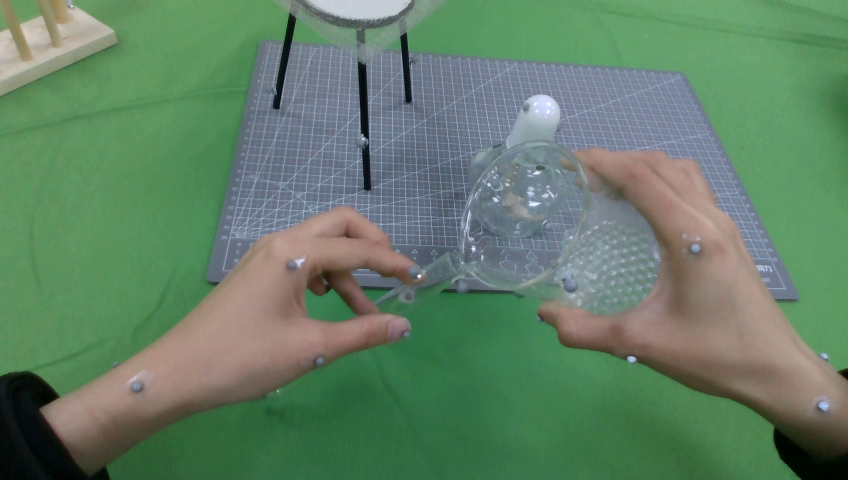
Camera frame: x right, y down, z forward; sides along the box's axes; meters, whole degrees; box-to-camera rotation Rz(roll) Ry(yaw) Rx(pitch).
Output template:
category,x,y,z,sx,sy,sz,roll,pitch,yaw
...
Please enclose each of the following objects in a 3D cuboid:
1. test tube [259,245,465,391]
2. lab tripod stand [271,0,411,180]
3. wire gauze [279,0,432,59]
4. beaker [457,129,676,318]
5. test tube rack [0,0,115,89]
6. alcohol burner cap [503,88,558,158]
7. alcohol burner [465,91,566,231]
category,x,y,z,sx,sy,sz,roll,pitch,yaw
test tube,-0.040,0.047,0.337,0.017,0.150,0.017,43,26,-26
lab tripod stand,-0.058,-0.143,0.484,0.149,0.132,0.147,6,51,-7
wire gauze,-0.052,-0.185,0.431,0.124,0.011,0.121,34,55,16
beaker,0.077,0.000,0.316,0.101,0.084,0.073,21,41,-40
test tube rack,-0.387,-0.167,0.486,0.066,0.086,0.242,33,54,17
alcohol burner cap,0.077,-0.083,0.423,0.034,0.048,0.033,4,55,-6
alcohol burner,0.072,-0.062,0.452,0.078,0.120,0.077,6,49,-6
